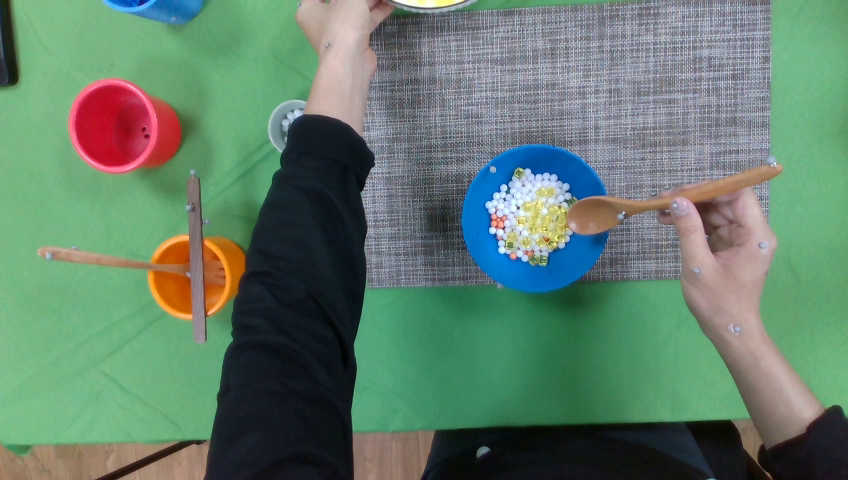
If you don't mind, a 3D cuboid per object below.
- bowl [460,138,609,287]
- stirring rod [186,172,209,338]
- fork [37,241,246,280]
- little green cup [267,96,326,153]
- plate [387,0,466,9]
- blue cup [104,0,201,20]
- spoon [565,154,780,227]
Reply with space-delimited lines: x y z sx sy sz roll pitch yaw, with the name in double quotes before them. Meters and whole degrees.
"bowl" 0.113 -0.030 0.645 0.151 0.076 0.151 0 97 4
"stirring rod" -0.238 0.017 0.637 0.014 0.006 0.176 0 96 6
"fork" -0.290 0.022 0.645 0.209 0.018 0.028 10 102 -41
"little green cup" -0.139 -0.127 0.673 0.061 0.038 0.061 0 97 4
"plate" 0.003 -0.341 0.629 0.209 0.038 0.209 0 91 0
"blue cup" -0.282 -0.273 0.632 0.092 0.100 0.093 1 97 5
"spoon" 0.196 -0.038 0.506 0.042 0.193 0.021 49 60 -19
